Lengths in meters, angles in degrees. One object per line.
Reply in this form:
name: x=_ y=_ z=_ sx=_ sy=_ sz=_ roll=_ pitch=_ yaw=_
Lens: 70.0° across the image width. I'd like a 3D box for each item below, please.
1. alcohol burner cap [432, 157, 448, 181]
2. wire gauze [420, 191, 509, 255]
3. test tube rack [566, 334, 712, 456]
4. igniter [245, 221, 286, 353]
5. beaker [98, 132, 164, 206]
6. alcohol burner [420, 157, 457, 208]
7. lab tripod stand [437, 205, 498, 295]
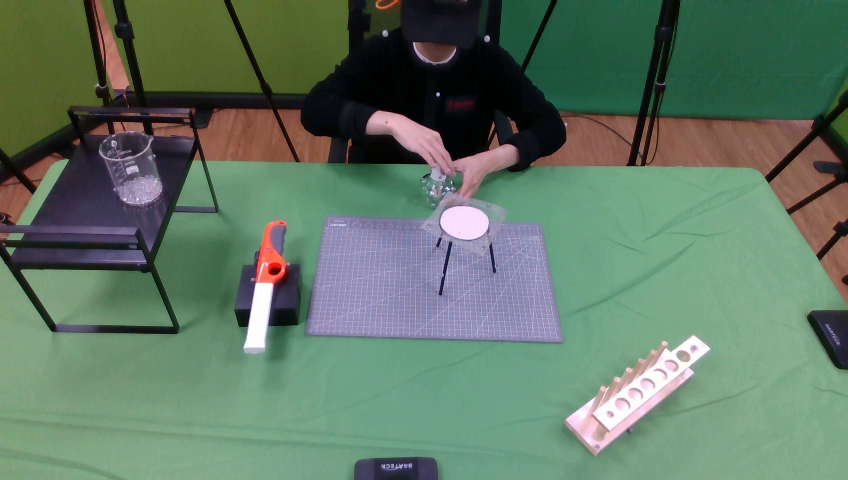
alcohol burner cap: x=0.033 y=-0.146 z=1.231 sx=0.034 sy=0.048 sz=0.033 roll=2 pitch=47 yaw=-2
wire gauze: x=0.072 y=-0.035 z=1.058 sx=0.125 sy=0.011 sz=0.121 roll=21 pitch=48 yaw=18
test tube rack: x=0.339 y=0.228 z=0.951 sx=0.242 sy=0.085 sz=0.066 roll=-26 pitch=52 yaw=-26
igniter: x=-0.270 y=0.070 z=1.040 sx=0.057 sy=0.025 sz=0.274 roll=2 pitch=48 yaw=-6
beaker: x=-0.460 y=-0.112 z=0.968 sx=0.073 sy=0.101 sz=0.084 roll=37 pitch=54 yaw=28
alcohol burner: x=0.031 y=-0.125 z=1.254 sx=0.078 sy=0.119 sz=0.077 roll=3 pitch=45 yaw=-3
lab tripod stand: x=0.066 y=0.010 z=1.107 sx=0.148 sy=0.132 sz=0.147 roll=0 pitch=46 yaw=0
